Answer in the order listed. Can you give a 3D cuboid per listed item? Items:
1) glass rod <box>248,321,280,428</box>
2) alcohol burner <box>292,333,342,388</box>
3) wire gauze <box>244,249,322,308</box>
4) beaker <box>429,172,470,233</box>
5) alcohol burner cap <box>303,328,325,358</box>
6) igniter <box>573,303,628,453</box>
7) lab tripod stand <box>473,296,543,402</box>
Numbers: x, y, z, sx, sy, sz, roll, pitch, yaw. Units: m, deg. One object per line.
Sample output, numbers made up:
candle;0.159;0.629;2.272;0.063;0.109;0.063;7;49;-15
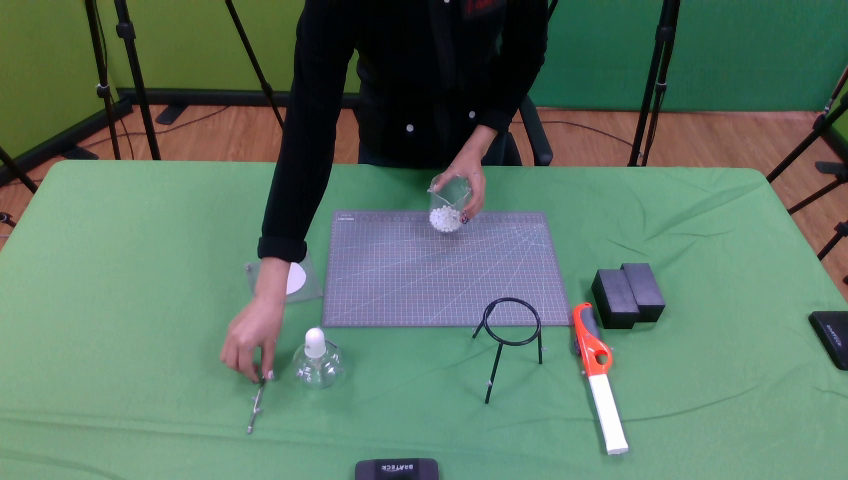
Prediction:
glass rod;-0.258;0.213;0.984;0.008;0.008;0.198;4;46;0
alcohol burner;-0.170;0.180;0.950;0.078;0.120;0.077;2;48;-2
wire gauze;-0.262;0.071;1.121;0.125;0.011;0.120;-11;48;-17
beaker;0.047;-0.067;1.162;0.074;0.101;0.083;-2;50;-6
alcohol burner cap;-0.169;0.154;0.924;0.034;0.048;0.033;4;41;-3
igniter;0.288;0.217;1.005;0.057;0.025;0.274;-9;46;8
lab tripod stand;0.132;0.168;0.968;0.148;0.132;0.147;3;48;-3
